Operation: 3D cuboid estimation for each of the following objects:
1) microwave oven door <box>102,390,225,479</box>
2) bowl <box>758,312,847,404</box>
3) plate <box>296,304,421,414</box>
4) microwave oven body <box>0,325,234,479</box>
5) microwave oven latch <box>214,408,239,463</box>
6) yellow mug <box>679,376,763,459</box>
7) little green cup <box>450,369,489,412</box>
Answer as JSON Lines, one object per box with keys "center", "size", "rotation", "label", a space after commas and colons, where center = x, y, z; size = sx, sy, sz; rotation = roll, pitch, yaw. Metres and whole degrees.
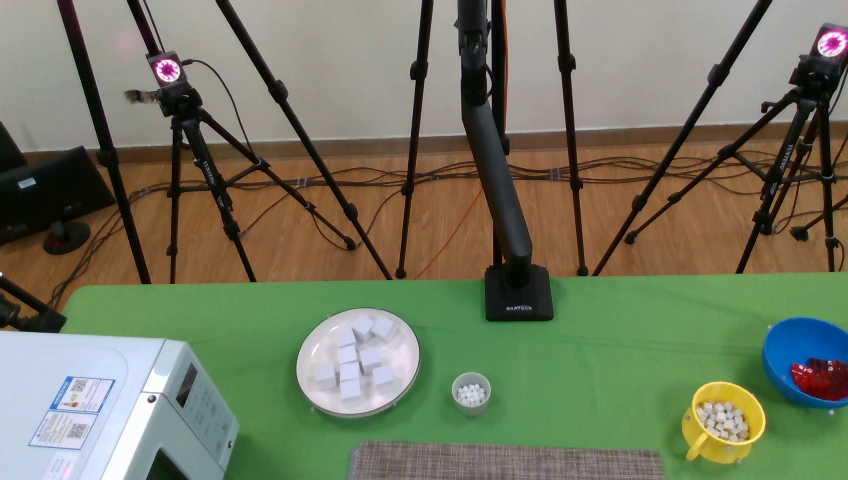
{"center": [-0.339, 0.388, 0.701], "size": [0.039, 0.246, 0.352], "rotation": [1, 48, 7], "label": "microwave oven door"}
{"center": [0.585, 0.193, 0.928], "size": [0.151, 0.077, 0.150], "rotation": [-3, 48, 4], "label": "bowl"}
{"center": [-0.108, 0.200, 1.016], "size": [0.207, 0.039, 0.205], "rotation": [-3, 47, 3], "label": "plate"}
{"center": [-0.479, 0.357, 0.750], "size": [0.326, 0.263, 0.437], "rotation": [2, 49, 7], "label": "microwave oven body"}
{"center": [-0.306, 0.296, 0.922], "size": [0.030, 0.030, 0.078], "rotation": [3, 49, 8], "label": "microwave oven latch"}
{"center": [0.421, 0.268, 0.883], "size": [0.131, 0.064, 0.099], "rotation": [-34, 53, -22], "label": "yellow mug"}
{"center": [0.073, 0.241, 0.961], "size": [0.061, 0.039, 0.061], "rotation": [-3, 47, 4], "label": "little green cup"}
